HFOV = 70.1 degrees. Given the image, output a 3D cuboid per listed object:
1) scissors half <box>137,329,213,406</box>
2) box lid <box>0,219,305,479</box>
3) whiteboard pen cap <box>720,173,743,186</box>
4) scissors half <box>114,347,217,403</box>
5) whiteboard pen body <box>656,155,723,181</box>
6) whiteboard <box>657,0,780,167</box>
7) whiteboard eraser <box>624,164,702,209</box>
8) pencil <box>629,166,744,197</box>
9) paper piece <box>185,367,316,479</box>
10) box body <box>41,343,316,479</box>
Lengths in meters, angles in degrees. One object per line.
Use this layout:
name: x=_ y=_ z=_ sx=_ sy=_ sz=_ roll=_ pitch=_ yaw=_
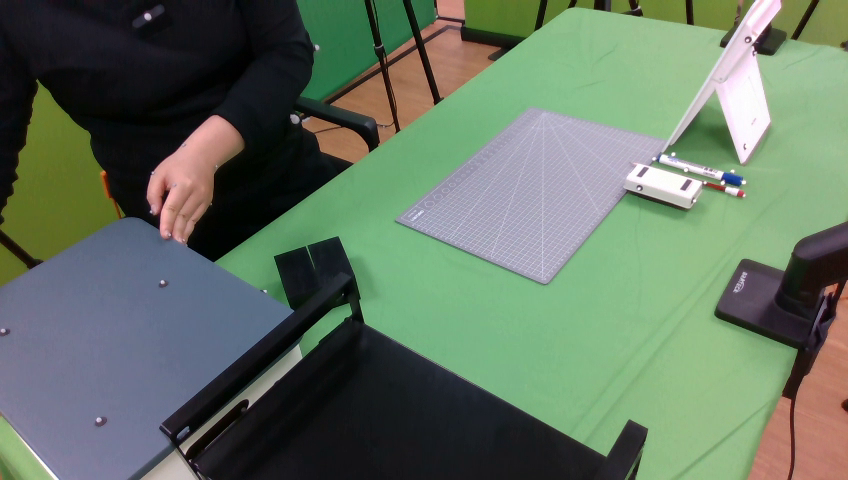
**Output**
scissors half: x=-0.336 y=0.173 z=0.824 sx=0.040 sy=0.013 sz=0.174 roll=-35 pitch=54 yaw=-30
box lid: x=-0.340 y=0.101 z=0.675 sx=0.368 sy=0.015 sz=0.264 roll=24 pitch=47 yaw=30
whiteboard pen cap: x=0.519 y=-0.103 z=1.020 sx=0.033 sy=0.018 sz=0.018 roll=23 pitch=49 yaw=30
scissors half: x=-0.349 y=0.185 z=0.812 sx=0.174 sy=0.013 sz=0.040 roll=16 pitch=52 yaw=18
whiteboard pen body: x=0.475 y=-0.122 z=1.052 sx=0.139 sy=0.017 sz=0.017 roll=25 pitch=50 yaw=31
whiteboard: x=0.571 y=-0.272 z=1.038 sx=0.143 sy=0.306 sz=0.218 roll=37 pitch=54 yaw=17
whiteboard eraser: x=0.396 y=-0.087 z=1.003 sx=0.112 sy=0.042 sz=0.056 roll=22 pitch=48 yaw=31
pencil: x=0.446 y=-0.103 z=1.038 sx=0.192 sy=0.012 sz=0.012 roll=20 pitch=48 yaw=29
paper piece: x=-0.222 y=0.234 z=0.757 sx=0.136 sy=0.009 sz=0.137 roll=-39 pitch=36 yaw=-23
box body: x=-0.340 y=0.161 z=0.728 sx=0.361 sy=0.161 sz=0.255 roll=23 pitch=48 yaw=31
